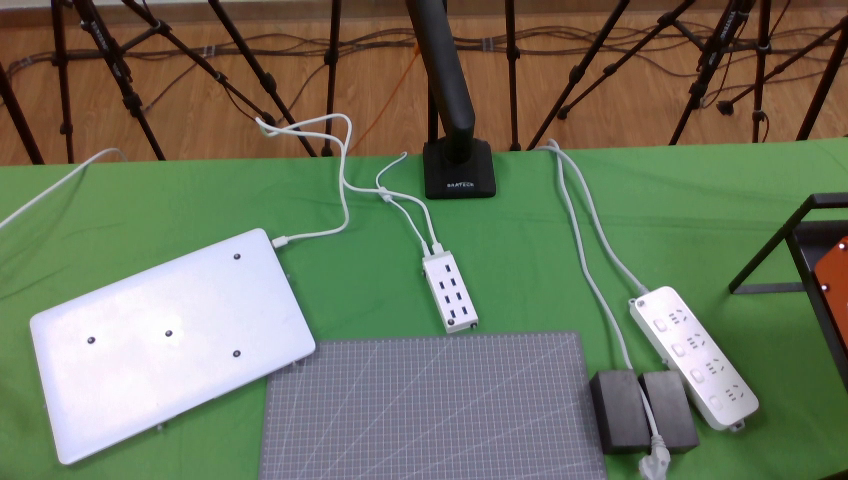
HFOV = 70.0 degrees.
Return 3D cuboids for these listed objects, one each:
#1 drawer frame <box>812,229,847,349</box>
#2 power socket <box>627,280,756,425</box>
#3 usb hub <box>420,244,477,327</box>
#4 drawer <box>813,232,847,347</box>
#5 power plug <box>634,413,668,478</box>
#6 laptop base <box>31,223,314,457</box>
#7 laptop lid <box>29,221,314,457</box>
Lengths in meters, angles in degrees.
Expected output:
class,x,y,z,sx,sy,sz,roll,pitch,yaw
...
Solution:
class,x,y,z,sx,sy,sz,roll,pitch,yaw
drawer frame,0.584,0.084,0.674,0.214,0.083,0.199,-2,59,-3
power socket,0.378,0.155,0.866,0.072,0.033,0.224,-21,61,-14
usb hub,0.035,0.067,0.915,0.049,0.025,0.124,-16,61,-10
drawer,0.581,0.086,0.674,0.212,0.074,0.192,-2,59,-3
power plug,0.289,0.267,0.773,0.035,0.053,0.072,28,42,-3
laptop base,-0.362,0.129,0.875,0.355,0.023,0.233,-24,65,-14
laptop lid,-0.361,0.124,0.864,0.357,0.013,0.239,-22,64,-13
